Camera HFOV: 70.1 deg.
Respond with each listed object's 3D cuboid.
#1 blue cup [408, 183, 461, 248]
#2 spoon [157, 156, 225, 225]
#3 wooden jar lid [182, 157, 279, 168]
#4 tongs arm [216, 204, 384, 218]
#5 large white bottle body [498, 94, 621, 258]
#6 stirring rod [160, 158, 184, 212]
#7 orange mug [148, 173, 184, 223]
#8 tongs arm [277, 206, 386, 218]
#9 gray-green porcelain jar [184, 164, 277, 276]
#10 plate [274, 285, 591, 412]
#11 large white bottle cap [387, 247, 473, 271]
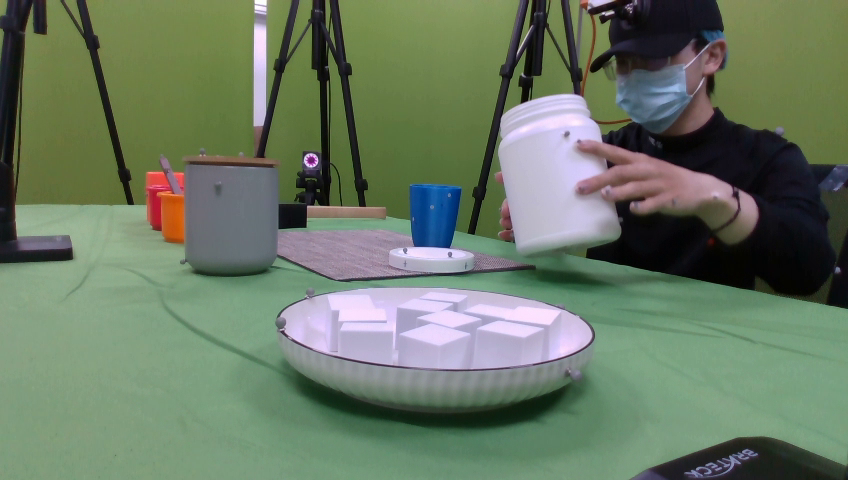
[{"bbox_3d":[0.015,-0.038,0.970,0.093,0.100,0.092,3,9,0],"label":"blue cup"},{"bbox_3d":[-0.425,-0.094,1.117,0.041,0.022,0.194,5,51,29],"label":"spoon"},{"bbox_3d":[-0.227,-0.086,0.714,0.108,0.020,0.108,1,6,0],"label":"wooden jar lid"},{"bbox_3d":[-0.288,-0.068,1.435,0.389,0.027,0.028,0,-1,-17],"label":"tongs arm"},{"bbox_3d":[0.166,-0.078,0.765,0.131,0.184,0.130,-10,-7,-1],"label":"large white bottle body"},{"bbox_3d":[-0.391,-0.070,0.972,0.014,0.006,0.175,-1,50,-49],"label":"stirring rod"},{"bbox_3d":[-0.490,-0.087,1.222,0.127,0.101,0.083,-9,13,-38],"label":"orange mug"},{"bbox_3d":[-0.251,-0.063,1.360,0.387,0.026,0.050,-1,3,-31],"label":"tongs arm"},{"bbox_3d":[-0.230,-0.025,0.722,0.106,0.126,0.106,3,7,0],"label":"gray-green porcelain jar"},{"bbox_3d":[0.005,0.069,0.408,0.208,0.039,0.207,2,7,0],"label":"plate"},{"bbox_3d":[0.009,0.025,0.804,0.115,0.018,0.115,2,7,0],"label":"large white bottle cap"}]
